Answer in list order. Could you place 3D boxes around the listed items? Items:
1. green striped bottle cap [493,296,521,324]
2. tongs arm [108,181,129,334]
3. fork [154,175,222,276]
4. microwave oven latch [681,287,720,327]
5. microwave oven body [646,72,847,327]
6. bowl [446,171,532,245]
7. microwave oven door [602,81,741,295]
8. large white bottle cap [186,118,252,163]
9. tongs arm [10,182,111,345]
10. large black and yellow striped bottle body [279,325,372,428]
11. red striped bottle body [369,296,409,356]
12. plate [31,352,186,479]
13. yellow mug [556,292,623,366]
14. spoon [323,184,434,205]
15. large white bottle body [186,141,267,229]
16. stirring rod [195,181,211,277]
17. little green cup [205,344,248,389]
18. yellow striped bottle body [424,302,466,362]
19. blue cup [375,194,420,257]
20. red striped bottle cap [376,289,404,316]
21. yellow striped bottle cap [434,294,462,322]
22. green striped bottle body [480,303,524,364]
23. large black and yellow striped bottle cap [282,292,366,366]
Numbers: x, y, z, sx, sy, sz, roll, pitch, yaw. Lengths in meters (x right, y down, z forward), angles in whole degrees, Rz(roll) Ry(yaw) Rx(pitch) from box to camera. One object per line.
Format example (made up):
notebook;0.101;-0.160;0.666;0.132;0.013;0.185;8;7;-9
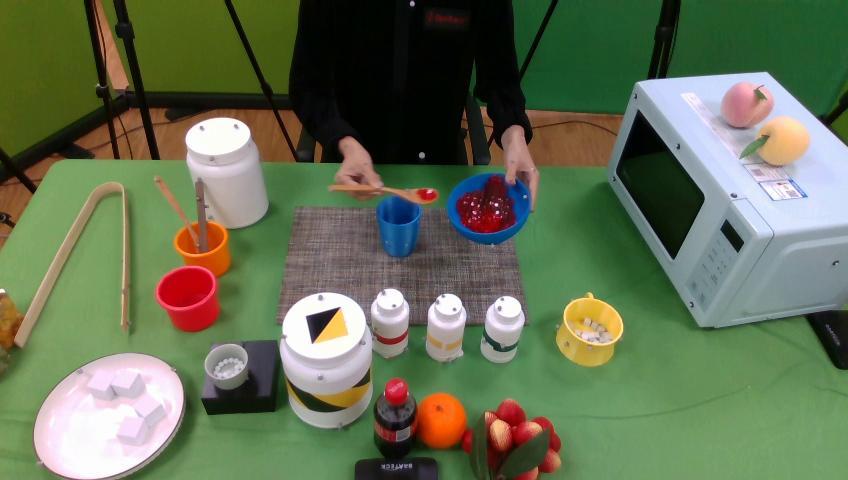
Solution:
green striped bottle cap;0.133;0.111;0.962;0.044;0.020;0.044;2;47;-2
tongs arm;-0.571;0.019;1.123;0.051;0.026;0.382;-10;47;-12
fork;-0.431;-0.026;1.101;0.028;0.018;0.207;-33;100;-25
microwave oven latch;0.494;0.119;1.087;0.030;0.029;0.078;-6;46;-9
microwave oven body;0.607;-0.089;1.164;0.326;0.261;0.438;-7;46;-10
bowl;0.120;-0.044;1.093;0.151;0.077;0.150;-6;50;8
microwave oven door;0.456;-0.107;1.162;0.039;0.245;0.353;-7;47;-11
large white bottle cap;-0.377;-0.185;1.115;0.115;0.018;0.114;2;47;-2
tongs arm;-0.658;0.026;1.109;0.028;0.028;0.385;-2;45;1
large black and yellow striped bottle body;-0.143;0.181;0.900;0.131;0.185;0.130;2;46;-2
red striped bottle body;-0.059;0.134;0.997;0.063;0.120;0.062;5;48;-5
plate;-0.459;0.262;0.898;0.209;0.038;0.208;2;46;-2
yellow mug;0.285;0.146;1.051;0.100;0.064;0.130;7;45;4
spoon;-0.075;-0.083;1.032;0.194;0.022;0.041;7;45;-22
large white bottle body;-0.383;-0.127;1.175;0.131;0.185;0.130;2;47;-2
stirring rod;-0.403;-0.020;1.104;0.014;0.006;0.176;-6;89;-8
little green cup;-0.293;0.191;0.909;0.061;0.039;0.061;1;47;-1
yellow striped bottle body;0.035;0.143;0.995;0.063;0.121;0.062;3;46;-3
blue cup;-0.051;-0.022;1.156;0.093;0.101;0.092;2;46;-1
red striped bottle cap;-0.055;0.098;0.958;0.044;0.018;0.044;0;48;0
yellow striped bottle cap;0.038;0.107;0.958;0.044;0.019;0.044;2;45;-2
green striped bottle body;0.129;0.147;1.000;0.063;0.120;0.063;2;46;-2
large black and yellow striped bottle cap;-0.138;0.121;0.841;0.115;0.019;0.114;3;47;-3
